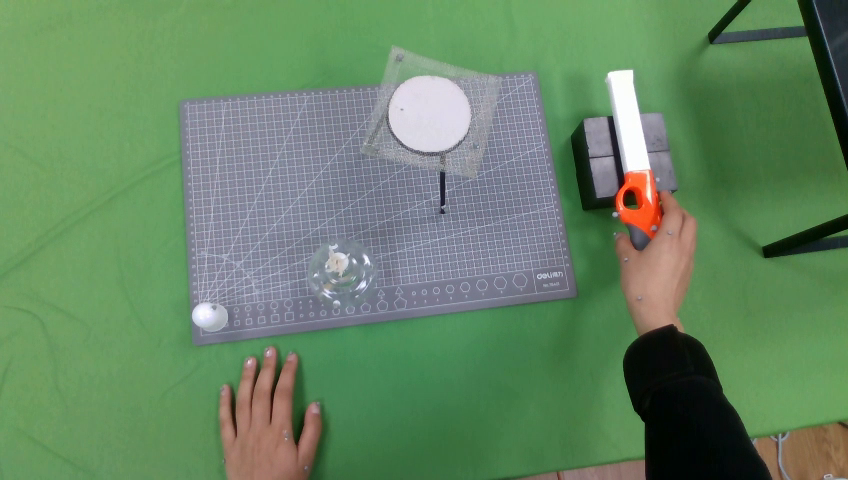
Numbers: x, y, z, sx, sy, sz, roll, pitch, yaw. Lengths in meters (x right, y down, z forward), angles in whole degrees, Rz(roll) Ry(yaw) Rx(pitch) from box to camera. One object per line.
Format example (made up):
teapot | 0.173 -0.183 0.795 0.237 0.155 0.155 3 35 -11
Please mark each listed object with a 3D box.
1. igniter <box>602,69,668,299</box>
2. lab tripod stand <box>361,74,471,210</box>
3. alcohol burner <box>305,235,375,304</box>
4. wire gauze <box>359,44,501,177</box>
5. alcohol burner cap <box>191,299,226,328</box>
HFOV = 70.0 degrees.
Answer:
igniter | 0.245 -0.069 0.707 0.057 0.025 0.275 -5 78 -2
lab tripod stand | 0.001 -0.120 0.687 0.148 0.132 0.147 1 76 -4
alcohol burner | -0.092 0.030 0.656 0.078 0.119 0.077 1 79 -5
wire gauze | 0.008 -0.133 0.621 0.121 0.011 0.124 16 76 -2
alcohol burner cap | -0.241 0.079 0.669 0.034 0.048 0.033 1 77 -6
